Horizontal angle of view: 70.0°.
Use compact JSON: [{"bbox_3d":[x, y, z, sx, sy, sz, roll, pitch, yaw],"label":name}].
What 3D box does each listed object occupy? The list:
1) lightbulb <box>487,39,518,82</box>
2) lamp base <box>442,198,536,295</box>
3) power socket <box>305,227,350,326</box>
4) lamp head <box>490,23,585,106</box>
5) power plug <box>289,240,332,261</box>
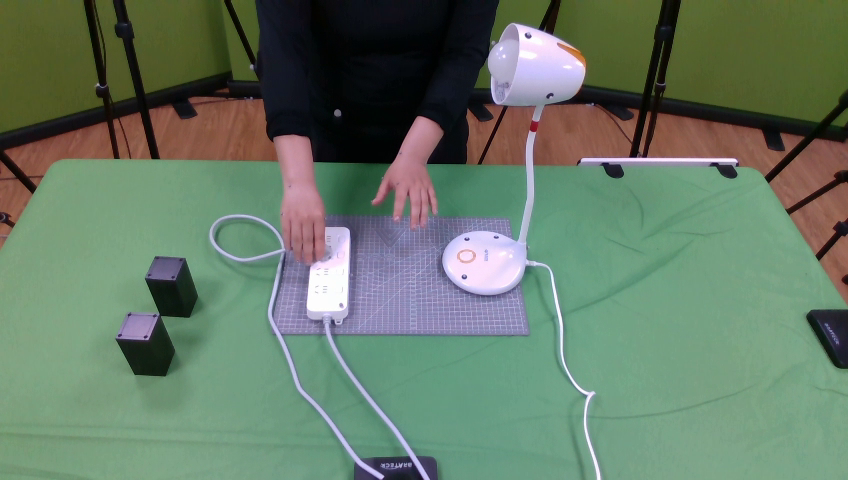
[{"bbox_3d":[0.143,-0.251,0.865,0.108,0.060,0.059,9,45,-7],"label":"lightbulb"},{"bbox_3d":[0.130,-0.012,1.105,0.179,0.181,0.159,-1,46,-9],"label":"lamp base"},{"bbox_3d":[-0.176,0.058,1.115,0.072,0.033,0.225,0,46,-4],"label":"power socket"},{"bbox_3d":[0.165,-0.241,0.872,0.123,0.113,0.111,9,43,-17],"label":"lamp head"},{"bbox_3d":[-0.207,0.021,1.124,0.072,0.053,0.035,7,45,7],"label":"power plug"}]
